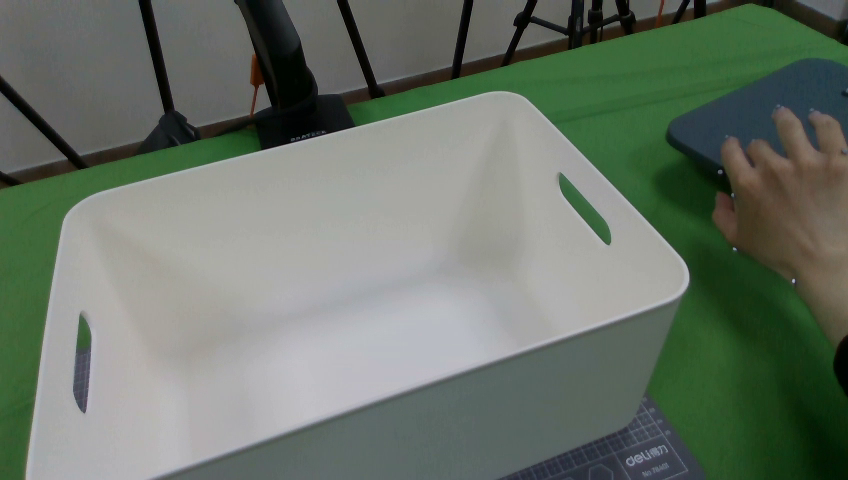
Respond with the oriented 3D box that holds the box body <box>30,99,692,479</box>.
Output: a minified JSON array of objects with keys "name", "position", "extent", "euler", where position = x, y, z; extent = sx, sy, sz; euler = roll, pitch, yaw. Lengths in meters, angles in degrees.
[{"name":"box body","position":[-0.042,0.060,0.443],"extent":[0.364,0.162,0.251],"euler":[-17,43,-11]}]

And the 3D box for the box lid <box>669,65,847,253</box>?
[{"name":"box lid","position":[0.449,-0.061,0.565],"extent":[0.263,0.015,0.367],"euler":[-25,45,-19]}]
